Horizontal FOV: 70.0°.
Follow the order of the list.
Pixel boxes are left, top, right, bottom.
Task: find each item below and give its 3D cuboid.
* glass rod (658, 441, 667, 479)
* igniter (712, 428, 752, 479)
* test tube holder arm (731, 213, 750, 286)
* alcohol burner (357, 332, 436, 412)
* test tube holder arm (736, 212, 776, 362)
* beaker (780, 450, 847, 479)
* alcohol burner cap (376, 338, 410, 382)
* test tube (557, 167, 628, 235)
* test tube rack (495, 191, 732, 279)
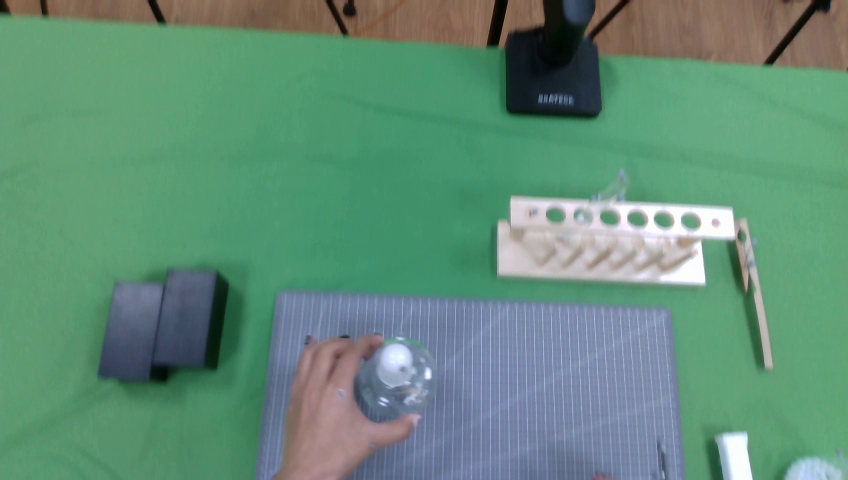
[{"bbox_3d":[0.253,0.311,0.623,0.008,0.008,0.198,2,72,-4],"label":"glass rod"},{"bbox_3d":[0.333,0.336,0.616,0.057,0.025,0.275,2,73,-14],"label":"igniter"},{"bbox_3d":[0.379,0.011,0.725,0.010,0.015,0.087,-14,71,29],"label":"test tube holder arm"},{"bbox_3d":[-0.027,0.122,0.579,0.078,0.120,0.077,0,64,1],"label":"alcohol burner"},{"bbox_3d":[0.388,0.053,0.710,0.013,0.015,0.177,-15,71,28],"label":"test tube holder arm"},{"bbox_3d":[0.421,0.247,0.612,0.074,0.101,0.083,16,71,1],"label":"beaker"},{"bbox_3d":[-0.026,0.106,0.547,0.034,0.048,0.033,3,62,-6],"label":"alcohol burner cap"},{"bbox_3d":[0.173,-0.037,0.636,0.017,0.151,0.017,3,69,-9],"label":"test tube"},{"bbox_3d":[0.207,-0.003,0.680,0.242,0.085,0.066,3,72,-3],"label":"test tube rack"}]
